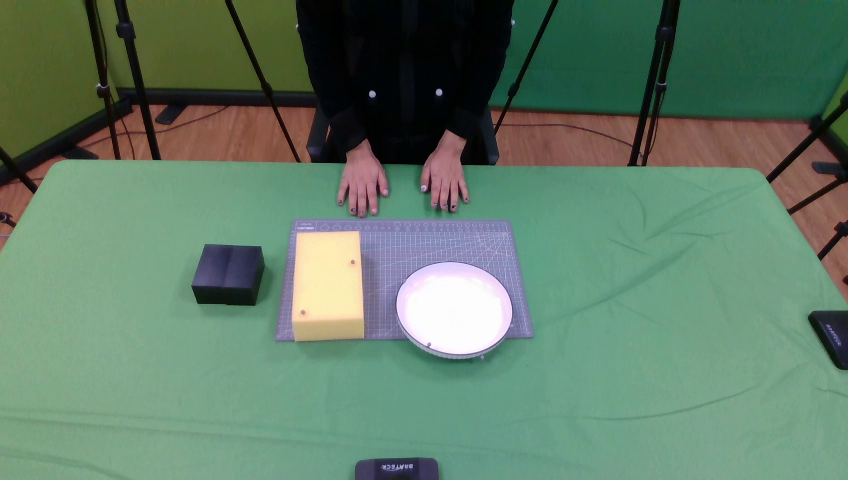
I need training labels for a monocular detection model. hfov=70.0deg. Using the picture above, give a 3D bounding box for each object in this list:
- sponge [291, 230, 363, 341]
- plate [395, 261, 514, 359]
[{"bbox_3d":[-0.171,0.077,1.081,0.118,0.061,0.205,-3,47,-6],"label":"sponge"},{"bbox_3d":[0.052,0.124,1.066,0.209,0.038,0.208,2,46,-2],"label":"plate"}]
